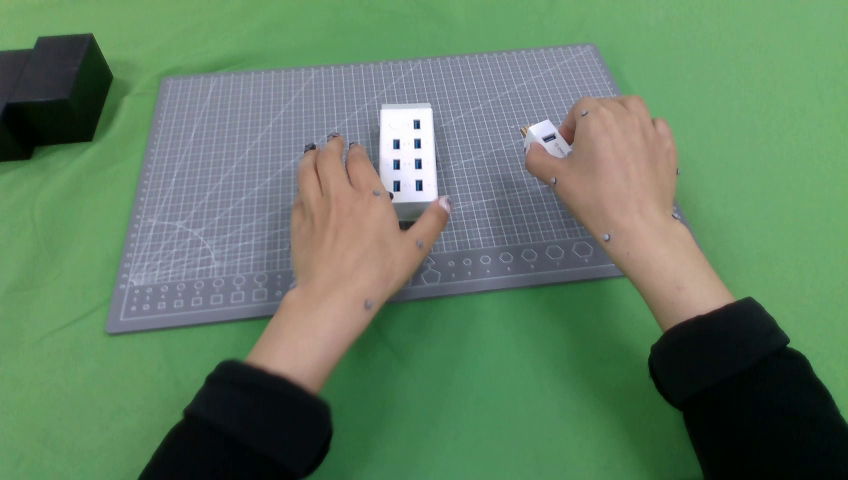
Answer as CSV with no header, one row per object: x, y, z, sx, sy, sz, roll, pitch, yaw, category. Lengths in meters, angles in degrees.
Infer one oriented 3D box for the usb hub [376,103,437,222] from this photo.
-0.017,-0.070,0.524,0.049,0.025,0.124,-2,51,0,usb hub

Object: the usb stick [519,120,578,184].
0.098,-0.076,0.491,0.021,0.027,0.058,-24,61,-14,usb stick
